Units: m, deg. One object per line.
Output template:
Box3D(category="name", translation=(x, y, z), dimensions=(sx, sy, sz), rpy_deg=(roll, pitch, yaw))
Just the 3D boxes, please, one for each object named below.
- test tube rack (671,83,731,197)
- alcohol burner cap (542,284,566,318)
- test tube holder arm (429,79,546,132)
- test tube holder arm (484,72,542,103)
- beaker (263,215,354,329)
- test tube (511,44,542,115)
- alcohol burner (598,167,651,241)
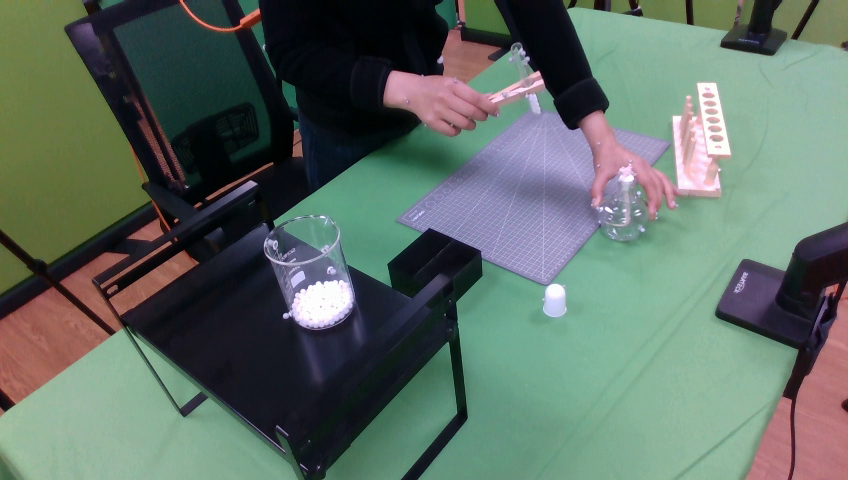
Box3D(category="test tube rack", translation=(0.482, -0.184, 1.066), dimensions=(0.066, 0.085, 0.242), rpy_deg=(6, 42, 14))
Box3D(category="alcohol burner cap", translation=(0.182, 0.081, 0.839), dimensions=(0.034, 0.048, 0.033), rpy_deg=(-4, 41, 4))
Box3D(category="test tube holder arm", translation=(0.091, -0.196, 0.886), dimensions=(0.178, 0.015, 0.013), rpy_deg=(-20, 55, 15))
Box3D(category="test tube holder arm", translation=(0.130, -0.217, 0.878), dimensions=(0.087, 0.015, 0.010), rpy_deg=(-25, 54, 12))
Box3D(category="beaker", translation=(-0.112, 0.034, 0.616), dimensions=(0.073, 0.101, 0.084), rpy_deg=(13, 44, 23))
Box3D(category="test tube", translation=(0.149, -0.226, 0.864), dimensions=(0.017, 0.151, 0.017), rpy_deg=(-9, 64, 19))
Box3D(category="alcohol burner", translation=(0.304, -0.058, 0.914), dimensions=(0.078, 0.119, 0.077), rpy_deg=(-5, 39, 5))
